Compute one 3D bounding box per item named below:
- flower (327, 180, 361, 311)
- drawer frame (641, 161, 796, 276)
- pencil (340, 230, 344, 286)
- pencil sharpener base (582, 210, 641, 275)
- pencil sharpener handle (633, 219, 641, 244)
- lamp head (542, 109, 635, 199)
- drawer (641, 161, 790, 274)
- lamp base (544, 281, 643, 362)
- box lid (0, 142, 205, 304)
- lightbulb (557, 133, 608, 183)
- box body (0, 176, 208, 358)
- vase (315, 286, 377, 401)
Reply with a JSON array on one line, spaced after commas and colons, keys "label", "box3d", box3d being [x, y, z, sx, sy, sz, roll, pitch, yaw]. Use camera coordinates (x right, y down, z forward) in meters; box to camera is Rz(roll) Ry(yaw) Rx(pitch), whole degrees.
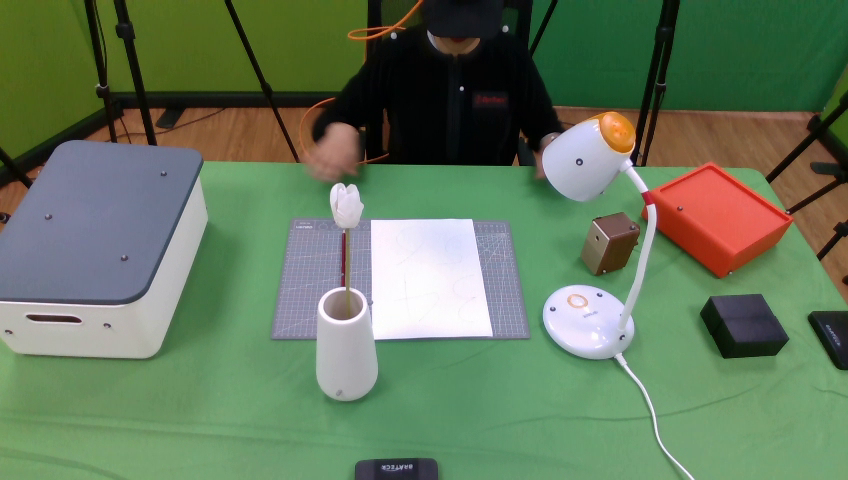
[{"label": "flower", "box3d": [-0.111, 0.086, 0.867, 0.044, 0.363, 0.038, 22, 33, 36]}, {"label": "drawer frame", "box3d": [0.599, -0.051, 1.244, 0.202, 0.083, 0.212, -24, 52, -25]}, {"label": "pencil", "box3d": [-0.154, 0.044, 1.148, 0.012, 0.012, 0.192, -2, 44, -5]}, {"label": "pencil sharpener base", "box3d": [0.357, 0.005, 1.156, 0.077, 0.107, 0.061, -15, 48, -18]}, {"label": "pencil sharpener handle", "box3d": [0.405, -0.015, 1.162, 0.031, 0.068, 0.035, -15, 44, -18]}, {"label": "lamp head", "box3d": [0.253, -0.131, 0.893, 0.113, 0.123, 0.112, 10, 66, -24]}, {"label": "drawer", "box3d": [0.596, -0.051, 1.246, 0.194, 0.073, 0.210, -23, 53, -25]}, {"label": "lamp base", "box3d": [0.304, 0.095, 1.014, 0.161, 0.181, 0.178, -24, 54, -24]}, {"label": "box lid", "box3d": [-0.534, -0.044, 0.995, 0.263, 0.015, 0.369, 3, 45, -3]}, {"label": "lightbulb", "box3d": [0.243, -0.127, 0.917, 0.060, 0.108, 0.059, 6, 67, -14]}, {"label": "box body", "box3d": [-0.546, 0.017, 1.045, 0.254, 0.161, 0.361, 2, 46, -2]}, {"label": "vase", "box3d": [-0.119, 0.159, 0.911, 0.098, 0.201, 0.097, 2, 47, -2]}]
